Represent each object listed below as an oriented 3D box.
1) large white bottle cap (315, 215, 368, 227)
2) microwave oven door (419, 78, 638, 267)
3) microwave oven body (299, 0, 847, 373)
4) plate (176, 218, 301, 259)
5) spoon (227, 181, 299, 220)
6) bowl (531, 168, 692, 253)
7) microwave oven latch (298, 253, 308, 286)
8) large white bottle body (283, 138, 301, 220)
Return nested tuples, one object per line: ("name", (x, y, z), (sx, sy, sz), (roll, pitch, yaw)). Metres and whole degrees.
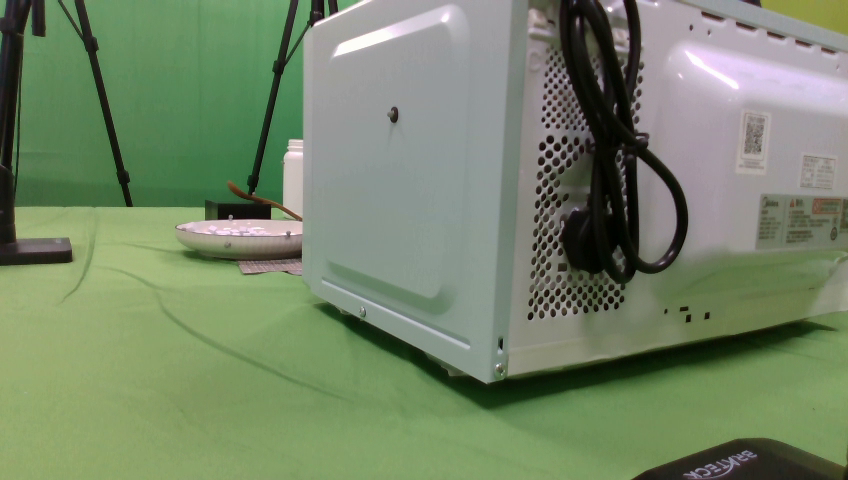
("large white bottle cap", (-0.177, -0.041, 1.308), (0.115, 0.018, 0.115), (2, 6, 0))
("microwave oven door", (0.133, -0.105, 0.894), (0.354, 0.243, 0.039), (9, 10, 43))
("microwave oven body", (0.152, -0.055, 0.542), (0.444, 0.260, 0.324), (-2, 7, -33))
("plate", (-0.248, -0.003, 0.877), (0.209, 0.038, 0.209), (1, 8, 0))
("spoon", (-0.315, -0.074, 1.235), (0.195, 0.021, 0.041), (24, -10, -37))
("bowl", (0.180, -0.031, 0.596), (0.151, 0.077, 0.151), (1, 7, 0))
("microwave oven latch", (-0.081, 0.027, 0.582), (0.079, 0.029, 0.030), (-1, 7, -32))
("large white bottle body", (-0.265, -0.143, 1.423), (0.131, 0.184, 0.130), (2, 8, 0))
